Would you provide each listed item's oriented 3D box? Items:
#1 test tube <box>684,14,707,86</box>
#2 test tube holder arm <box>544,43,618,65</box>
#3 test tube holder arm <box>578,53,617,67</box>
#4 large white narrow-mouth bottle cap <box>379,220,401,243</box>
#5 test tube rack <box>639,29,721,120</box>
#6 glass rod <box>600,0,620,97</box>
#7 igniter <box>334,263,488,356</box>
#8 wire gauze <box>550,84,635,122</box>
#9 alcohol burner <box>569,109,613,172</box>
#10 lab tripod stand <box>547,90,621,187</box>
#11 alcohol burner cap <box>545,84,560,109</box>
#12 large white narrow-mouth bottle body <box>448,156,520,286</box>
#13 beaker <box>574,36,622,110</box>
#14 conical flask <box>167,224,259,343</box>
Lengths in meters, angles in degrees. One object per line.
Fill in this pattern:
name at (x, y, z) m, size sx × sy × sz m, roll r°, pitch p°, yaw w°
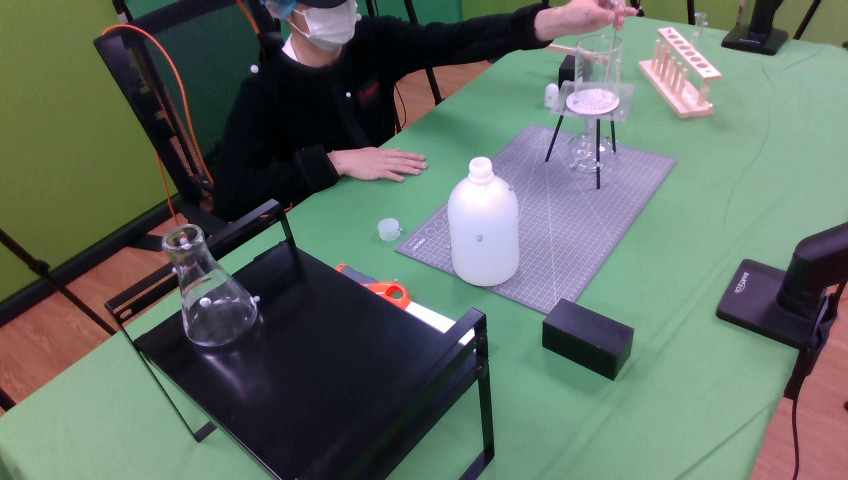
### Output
test tube at (0.541, -0.379, 1.216) m, size 0.017 × 0.151 × 0.017 m, roll -2°, pitch 44°, yaw 3°
test tube holder arm at (0.345, -0.413, 1.341) m, size 0.177 × 0.015 × 0.013 m, roll 25°, pitch 49°, yaw 32°
test tube holder arm at (0.376, -0.394, 1.314) m, size 0.087 × 0.015 × 0.010 m, roll 26°, pitch 50°, yaw 32°
large white narrow-mouth bottle cap at (-0.057, -0.015, 1.011) m, size 0.038 × 0.024 × 0.037 m, roll -4°, pitch 40°, yaw 4°
test tube rack at (0.527, -0.351, 1.262) m, size 0.067 × 0.085 × 0.241 m, roll -8°, pitch 40°, yaw 1°
glass rod at (0.295, -0.319, 0.951) m, size 0.008 × 0.200 × 0.008 m, roll -1°, pitch 40°, yaw 2°
igniter at (-0.030, 0.095, 0.872) m, size 0.274 × 0.025 × 0.057 m, roll 23°, pitch 59°, yaw 31°
wire gauze at (0.285, -0.234, 1.021) m, size 0.124 × 0.011 × 0.121 m, roll 8°, pitch 41°, yaw 24°
alcohol burner at (0.297, -0.181, 1.073) m, size 0.078 × 0.119 × 0.077 m, roll -5°, pitch 43°, yaw 5°
lab tripod stand at (0.289, -0.184, 1.062) m, size 0.148 × 0.132 × 0.147 m, roll -6°, pitch 41°, yaw 6°
alcohol burner cap at (0.274, -0.307, 1.285) m, size 0.034 × 0.048 × 0.033 m, roll -5°, pitch 42°, yaw 5°
large white narrow-mouth bottle body at (0.086, -0.032, 0.869) m, size 0.102 × 0.195 × 0.101 m, roll -4°, pitch 40°, yaw 4°
beaker at (0.285, -0.273, 0.990) m, size 0.073 × 0.101 × 0.084 m, roll 15°, pitch 46°, yaw 27°
conical flask at (-0.220, 0.041, 0.613) m, size 0.075 × 0.122 × 0.075 m, roll -5°, pitch 40°, yaw 4°
